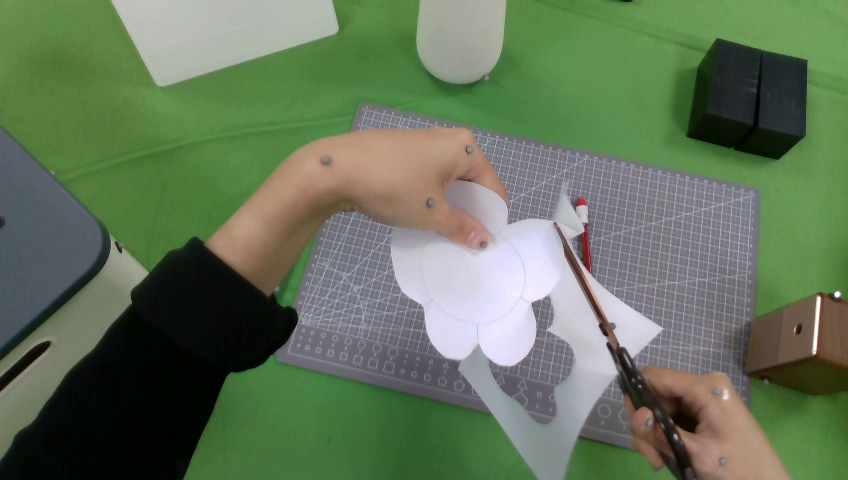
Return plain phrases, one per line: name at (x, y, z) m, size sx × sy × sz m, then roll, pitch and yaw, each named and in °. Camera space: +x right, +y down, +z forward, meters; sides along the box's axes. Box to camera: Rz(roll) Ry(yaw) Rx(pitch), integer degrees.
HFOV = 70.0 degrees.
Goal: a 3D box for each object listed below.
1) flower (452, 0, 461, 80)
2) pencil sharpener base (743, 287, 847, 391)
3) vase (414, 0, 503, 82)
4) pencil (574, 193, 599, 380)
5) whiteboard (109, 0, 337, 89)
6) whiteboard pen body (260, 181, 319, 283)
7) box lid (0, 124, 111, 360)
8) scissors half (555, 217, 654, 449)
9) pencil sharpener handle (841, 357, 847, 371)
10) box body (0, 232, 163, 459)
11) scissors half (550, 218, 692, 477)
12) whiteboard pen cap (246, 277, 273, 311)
flower at (0.035, -0.296, 0.545) m, size 0.044 × 0.365 × 0.038 m, roll 6°, pitch 52°, yaw 5°
pencil sharpener base at (0.354, 0.093, 0.548) m, size 0.076 × 0.107 × 0.061 m, roll 17°, pitch 69°, yaw 2°
vase at (0.037, -0.253, 0.618) m, size 0.098 × 0.201 × 0.097 m, roll 0°, pitch 68°, yaw 0°
pencil at (0.165, 0.043, 0.612) m, size 0.012 × 0.012 × 0.193 m, roll 0°, pitch 72°, yaw -1°
whiteboard at (-0.242, -0.351, 0.621) m, size 0.217 × 0.308 × 0.142 m, roll -20°, pitch 52°, yaw -8°
whiteboard pen body at (-0.140, 0.001, 0.615) m, size 0.017 × 0.017 × 0.140 m, roll 19°, pitch 69°, yaw 6°
box lid at (-0.450, -0.020, 0.458) m, size 0.370 × 0.015 × 0.263 m, roll 39°, pitch 73°, yaw 12°
scissors half at (0.118, 0.062, 0.391) m, size 0.013 × 0.040 × 0.176 m, roll -26°, pitch 107°, yaw 3°
pencil sharpener handle at (0.404, 0.105, 0.535) m, size 0.030 × 0.068 × 0.036 m, roll 17°, pitch 64°, yaw 2°
box body at (-0.450, 0.007, 0.527) m, size 0.362 × 0.161 × 0.253 m, roll 39°, pitch 74°, yaw 12°
scissors half at (0.119, 0.064, 0.370) m, size 0.013 × 0.040 × 0.174 m, roll -26°, pitch 84°, yaw -3°
whiteboard pen cap at (-0.160, 0.052, 0.594) m, size 0.018 × 0.018 × 0.033 m, roll 19°, pitch 66°, yaw 6°
